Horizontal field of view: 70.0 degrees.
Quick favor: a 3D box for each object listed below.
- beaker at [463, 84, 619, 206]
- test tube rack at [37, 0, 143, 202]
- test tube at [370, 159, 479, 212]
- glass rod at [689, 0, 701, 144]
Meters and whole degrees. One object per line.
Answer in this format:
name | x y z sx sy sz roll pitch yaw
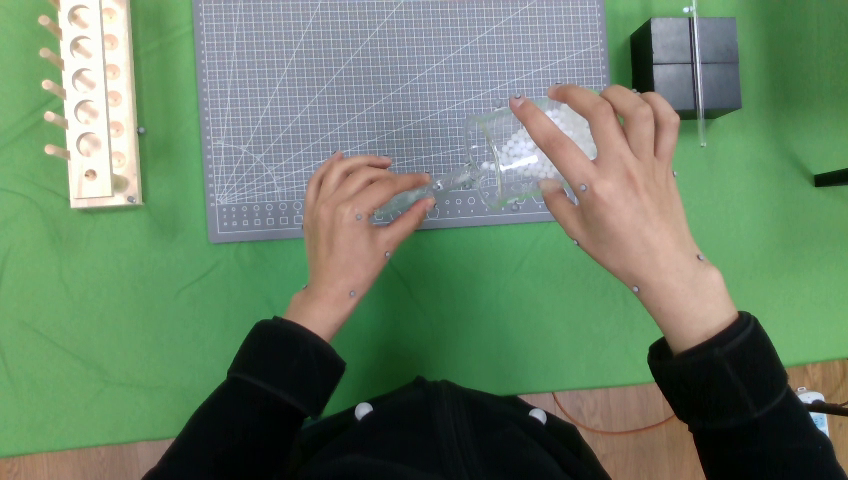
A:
beaker | 0.088 -0.074 0.464 0.100 0.084 0.074 -16 87 -8
test tube rack | -0.327 -0.162 0.582 0.067 0.085 0.242 -4 90 -6
test tube | -0.005 -0.047 0.552 0.017 0.149 0.017 9 75 -37
glass rod | 0.291 -0.202 0.652 0.008 0.008 0.199 -2 90 -7
